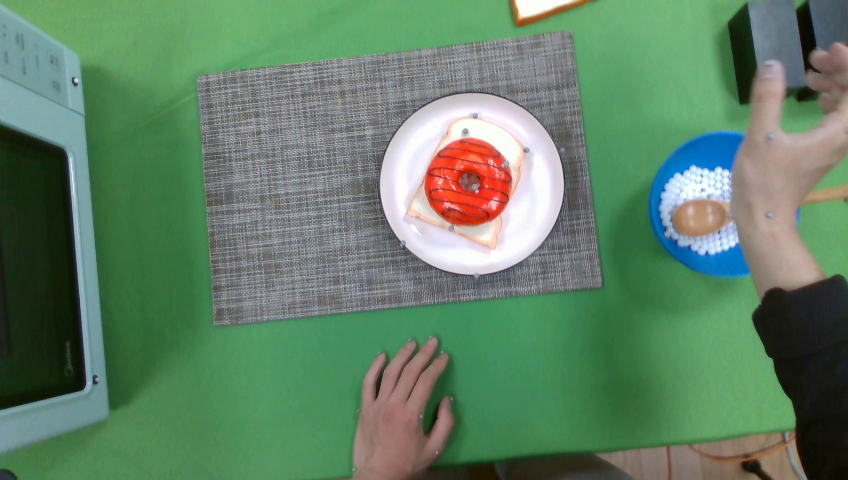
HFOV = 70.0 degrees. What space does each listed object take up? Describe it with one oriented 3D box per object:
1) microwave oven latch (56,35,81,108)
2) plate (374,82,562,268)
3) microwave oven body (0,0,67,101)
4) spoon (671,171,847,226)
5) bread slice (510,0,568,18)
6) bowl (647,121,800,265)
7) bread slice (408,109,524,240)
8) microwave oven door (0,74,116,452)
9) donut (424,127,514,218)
[{"bbox_3d":[-0.421,-0.193,0.702,0.030,0.029,0.079,-8,87,2],"label":"microwave oven latch"},{"bbox_3d":[0.049,-0.072,0.686,0.207,0.039,0.207,0,86,2],"label":"plate"},{"bbox_3d":[-0.549,-0.005,0.599,0.326,0.260,0.440,-8,86,2],"label":"microwave oven body"},{"bbox_3d":[0.357,-0.048,0.622,0.193,0.022,0.041,-11,79,24],"label":"spoon"},{"bbox_3d":[0.134,-0.339,0.714,0.105,0.019,0.131,-21,87,0],"label":"bread slice"},{"bbox_3d":[0.309,-0.045,0.655,0.151,0.077,0.151,0,85,2],"label":"bowl"},{"bbox_3d":[0.051,-0.079,0.687,0.107,0.018,0.134,19,88,3],"label":"bread slice"},{"bbox_3d":[-0.398,0.015,0.586,0.039,0.244,0.355,-9,86,3],"label":"microwave oven door"},{"bbox_3d":[0.048,-0.072,0.658,0.099,0.048,0.099,0,87,3],"label":"donut"}]
